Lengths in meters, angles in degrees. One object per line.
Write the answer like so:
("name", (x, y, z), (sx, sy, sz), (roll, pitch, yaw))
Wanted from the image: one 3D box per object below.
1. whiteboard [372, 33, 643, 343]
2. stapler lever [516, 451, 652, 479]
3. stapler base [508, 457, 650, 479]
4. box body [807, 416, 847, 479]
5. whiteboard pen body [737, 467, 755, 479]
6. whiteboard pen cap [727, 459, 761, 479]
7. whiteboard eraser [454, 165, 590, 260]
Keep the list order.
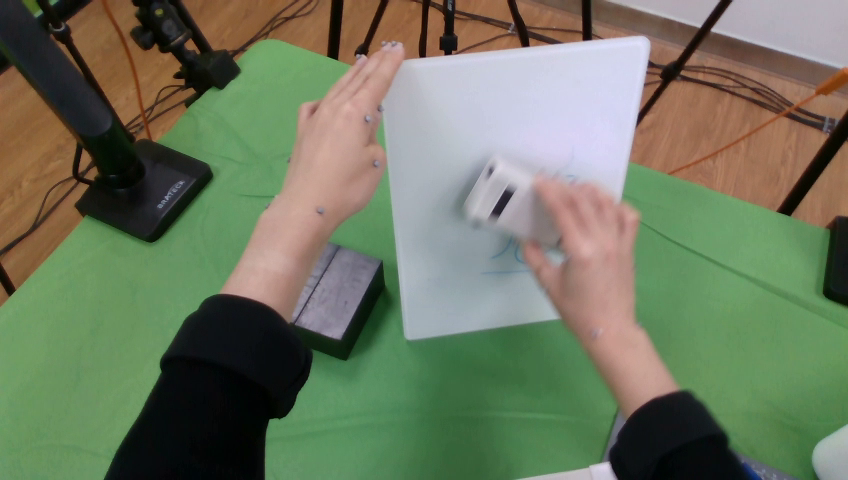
("whiteboard", (0.065, -0.067, 0.609), (0.217, 0.308, 0.142), (-7, 38, -5))
("stapler lever", (0.141, 0.210, 0.531), (0.118, 0.040, 0.026), (-9, 53, -3))
("stapler base", (0.143, 0.224, 0.551), (0.130, 0.024, 0.041), (-9, 53, -3))
("box body", (0.526, 0.255, 0.455), (0.254, 0.162, 0.360), (-18, 59, -13))
("whiteboard pen body", (0.331, 0.259, 0.530), (0.017, 0.017, 0.139), (-29, 60, -18))
("whiteboard pen cap", (0.298, 0.220, 0.558), (0.018, 0.018, 0.033), (-29, 61, -18))
("whiteboard eraser", (0.087, -0.024, 0.538), (0.113, 0.056, 0.041), (18, 30, -23))
